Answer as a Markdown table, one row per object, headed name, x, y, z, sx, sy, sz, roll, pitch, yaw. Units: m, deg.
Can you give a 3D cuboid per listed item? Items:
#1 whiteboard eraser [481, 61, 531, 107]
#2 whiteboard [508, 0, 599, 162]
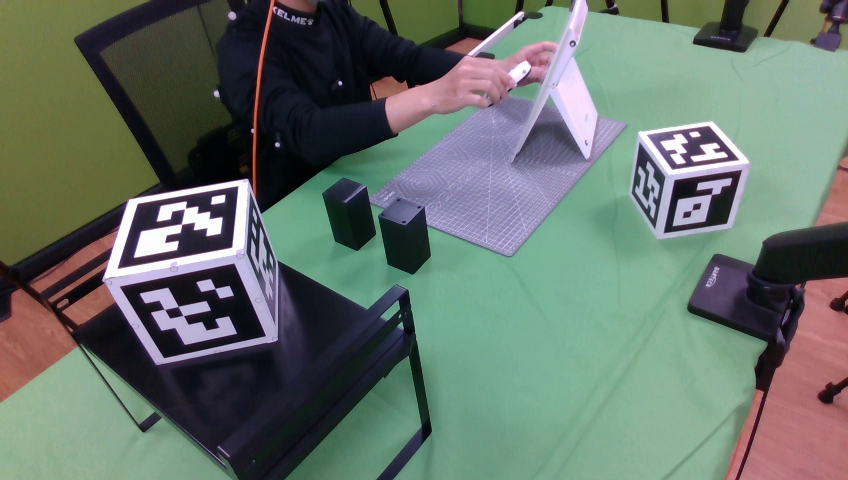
| name | x | y | z | sx | sy | sz | roll | pitch | yaw |
| --- | --- | --- | --- | --- | --- | --- | --- | --- | --- |
| whiteboard eraser | 0.139 | -0.266 | 1.028 | 0.101 | 0.019 | 0.041 | -37 | 25 | 24 |
| whiteboard | 0.285 | -0.289 | 1.090 | 0.144 | 0.305 | 0.217 | 22 | 45 | 3 |
